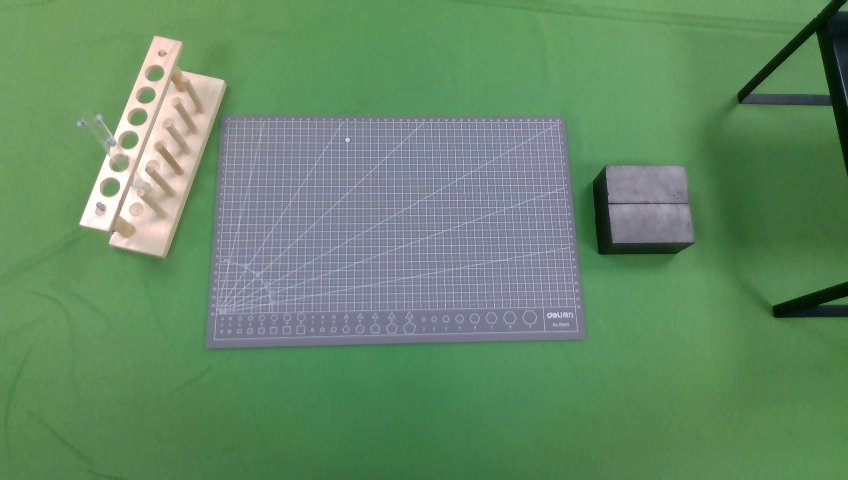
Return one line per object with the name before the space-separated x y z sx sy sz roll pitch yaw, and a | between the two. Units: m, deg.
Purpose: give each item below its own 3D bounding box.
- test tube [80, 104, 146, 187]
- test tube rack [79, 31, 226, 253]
test tube | -0.337 -0.098 0.664 0.017 0.151 0.017 2 66 -3
test tube rack | -0.315 -0.116 0.722 0.067 0.085 0.241 13 74 0
